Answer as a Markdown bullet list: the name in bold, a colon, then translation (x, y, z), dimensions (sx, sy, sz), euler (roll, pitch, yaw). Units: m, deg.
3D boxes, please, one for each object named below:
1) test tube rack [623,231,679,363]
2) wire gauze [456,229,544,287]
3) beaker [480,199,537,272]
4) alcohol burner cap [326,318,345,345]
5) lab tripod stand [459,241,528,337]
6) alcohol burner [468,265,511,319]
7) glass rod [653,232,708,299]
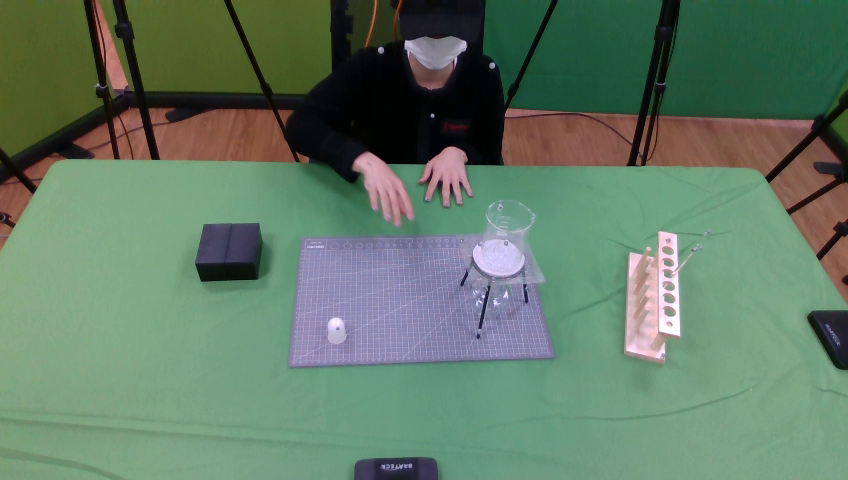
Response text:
- **test tube rack**: translation (0.410, 0.094, 1.096), dimensions (0.066, 0.085, 0.241), euler (13, 46, 9)
- **wire gauze**: translation (0.125, 0.030, 1.008), dimensions (0.125, 0.011, 0.120), euler (-3, 48, -11)
- **beaker**: translation (0.132, -0.004, 0.973), dimensions (0.084, 0.101, 0.073), euler (-4, 47, -9)
- **alcohol burner cap**: translation (-0.149, 0.151, 1.023), dimensions (0.034, 0.048, 0.033), euler (2, 46, -2)
- **lab tripod stand**: translation (0.122, 0.075, 1.054), dimensions (0.148, 0.132, 0.147), euler (3, 44, -3)
- **alcohol burner**: translation (0.117, 0.083, 1.060), dimensions (0.078, 0.119, 0.077), euler (3, 48, -3)
- **glass rod**: translation (0.441, 0.049, 1.050), dimensions (0.008, 0.200, 0.008), euler (4, 52, -5)
